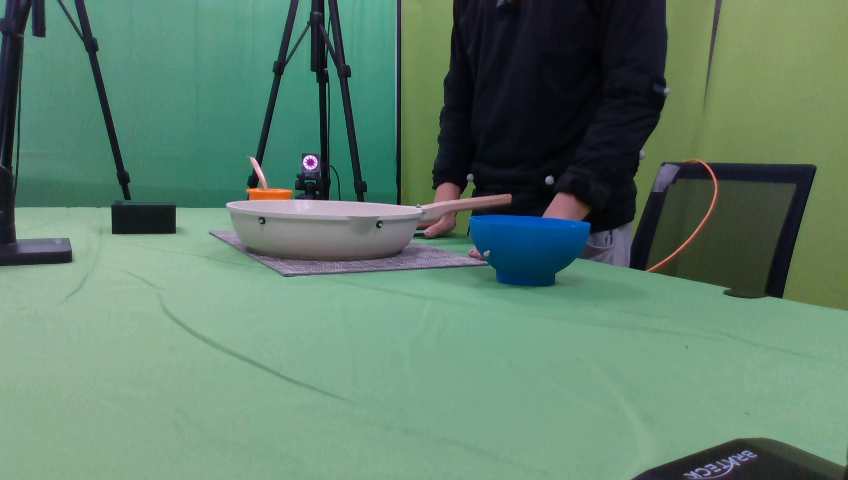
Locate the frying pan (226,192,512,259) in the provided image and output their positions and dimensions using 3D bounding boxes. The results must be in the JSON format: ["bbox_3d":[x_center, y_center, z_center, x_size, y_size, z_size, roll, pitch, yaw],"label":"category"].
[{"bbox_3d":[-0.058,-0.041,0.974,0.490,0.102,0.305,-11,13,-26],"label":"frying pan"}]

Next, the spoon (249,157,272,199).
[{"bbox_3d":[-0.334,-0.108,1.269,0.042,0.193,0.021,0,-37,-39],"label":"spoon"}]

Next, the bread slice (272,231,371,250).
[{"bbox_3d":[-0.148,0.001,0.929,0.133,0.018,0.107,5,7,38],"label":"bread slice"}]

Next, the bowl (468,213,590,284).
[{"bbox_3d":[0.128,0.010,0.755,0.151,0.077,0.151,2,7,0],"label":"bowl"}]
